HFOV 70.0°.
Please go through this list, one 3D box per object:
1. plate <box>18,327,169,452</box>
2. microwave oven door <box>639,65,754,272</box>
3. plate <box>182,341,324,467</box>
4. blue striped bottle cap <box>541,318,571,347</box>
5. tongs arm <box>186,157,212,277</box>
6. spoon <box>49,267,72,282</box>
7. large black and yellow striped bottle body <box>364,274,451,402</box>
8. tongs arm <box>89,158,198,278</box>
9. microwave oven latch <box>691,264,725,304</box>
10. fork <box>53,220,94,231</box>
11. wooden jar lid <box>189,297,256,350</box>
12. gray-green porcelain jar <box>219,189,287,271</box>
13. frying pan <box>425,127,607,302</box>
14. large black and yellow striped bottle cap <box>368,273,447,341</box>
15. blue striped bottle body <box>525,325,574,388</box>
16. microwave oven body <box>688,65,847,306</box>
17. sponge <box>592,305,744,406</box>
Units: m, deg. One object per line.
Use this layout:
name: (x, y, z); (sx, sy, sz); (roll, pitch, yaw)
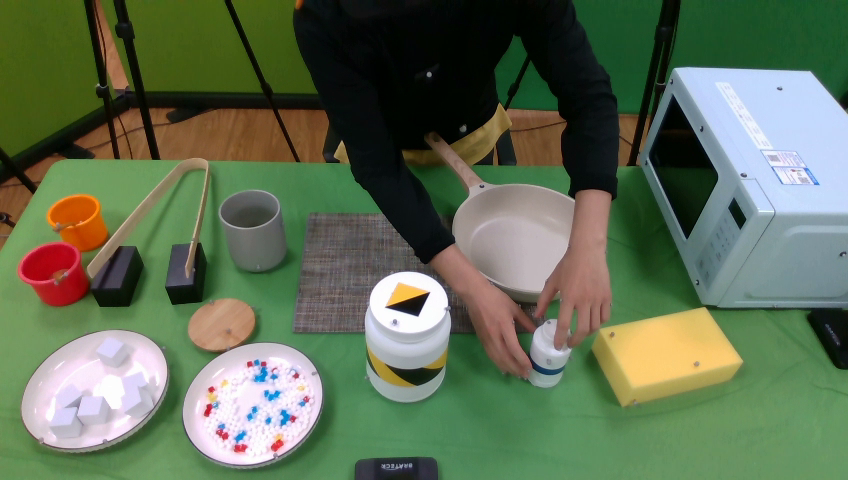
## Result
plate: (-0.498, 0.229, 0.929); (0.208, 0.039, 0.206); (3, 46, -2)
microwave oven door: (0.522, -0.147, 1.192); (0.039, 0.245, 0.353); (0, 47, -3)
plate: (-0.257, 0.250, 0.927); (0.209, 0.038, 0.208); (3, 46, -2)
blue striped bottle cap: (0.204, 0.142, 0.933); (0.044, 0.021, 0.044); (2, 50, -2)
tongs arm: (-0.445, -0.058, 1.168); (0.051, 0.026, 0.382); (-5, 37, -6)
spoon: (-0.608, 0.058, 1.011); (0.041, 0.022, 0.193); (-31, 12, -27)
large black and yellow striped bottle body: (-0.026, 0.151, 0.937); (0.131, 0.185, 0.130); (2, 47, -2)
tongs arm: (-0.530, -0.058, 1.164); (0.028, 0.028, 0.385); (1, 36, 8)
microwave oven latch: (0.521, 0.081, 1.116); (0.030, 0.029, 0.078); (0, 46, -3)
fork: (-0.627, -0.027, 1.086); (0.028, 0.018, 0.207); (-1, 2, -15)
wooden jar lid: (-0.342, 0.145, 1.033); (0.108, 0.021, 0.107); (3, 45, -2)
gray-green porcelain jar: (-0.309, -0.014, 1.113); (0.106, 0.127, 0.105); (2, 46, -2)
frying pan: (0.143, -0.069, 1.208); (0.307, 0.103, 0.485); (-22, 60, -24)
large black and yellow striped bottle cap: (-0.023, 0.094, 0.875); (0.115, 0.019, 0.114); (2, 45, -2)
blue striped bottle body: (0.201, 0.179, 0.969); (0.063, 0.121, 0.062); (2, 45, -2)
microwave oven body: (0.669, -0.111, 1.176); (0.326, 0.261, 0.439); (0, 46, -3)
sponge: (0.405, 0.190, 1.015); (0.207, 0.061, 0.117); (-10, 47, -13)
